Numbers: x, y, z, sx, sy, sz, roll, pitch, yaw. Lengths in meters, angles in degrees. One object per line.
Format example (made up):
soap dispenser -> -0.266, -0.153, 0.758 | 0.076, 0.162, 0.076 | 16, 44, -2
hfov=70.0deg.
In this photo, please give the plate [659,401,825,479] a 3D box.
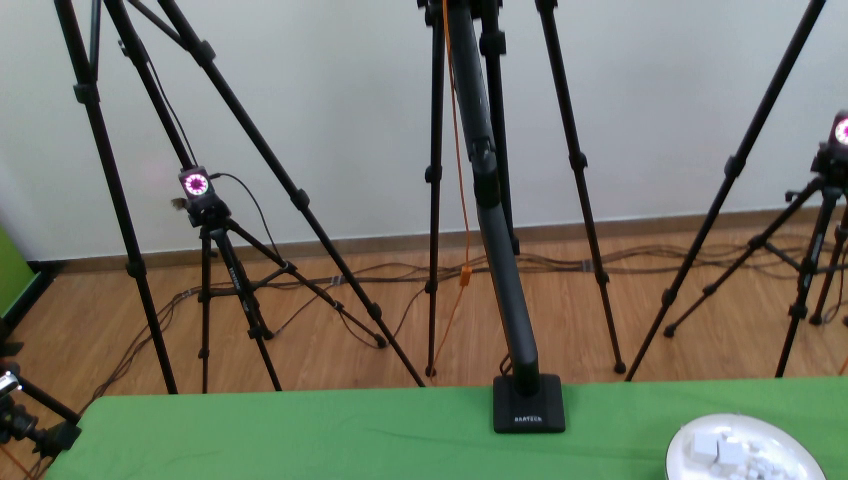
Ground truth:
plate -> 0.435, 0.321, 0.842 | 0.207, 0.039, 0.205 | -5, 39, 5
